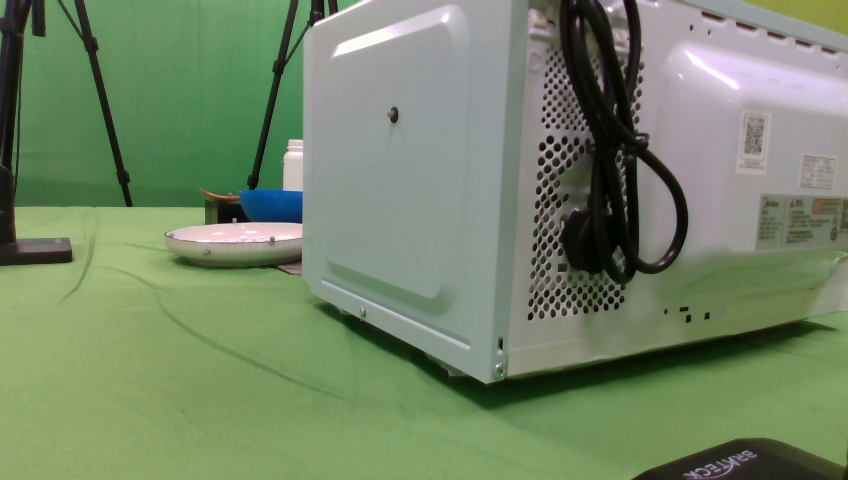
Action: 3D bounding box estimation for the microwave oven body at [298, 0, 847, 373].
[{"bbox_3d":[0.151,-0.055,0.542,0.444,0.260,0.324,-1,7,-33],"label":"microwave oven body"}]

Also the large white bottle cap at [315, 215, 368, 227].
[{"bbox_3d":[-0.178,-0.041,1.308,0.115,0.018,0.115,2,6,0],"label":"large white bottle cap"}]

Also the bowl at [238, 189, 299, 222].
[{"bbox_3d":[-0.245,-0.046,1.052,0.151,0.077,0.151,3,8,0],"label":"bowl"}]

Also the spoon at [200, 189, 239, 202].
[{"bbox_3d":[-0.339,-0.080,1.190,0.194,0.021,0.041,5,1,-19],"label":"spoon"}]

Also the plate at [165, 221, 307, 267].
[{"bbox_3d":[-0.241,0.004,0.829,0.209,0.038,0.209,0,9,0],"label":"plate"}]

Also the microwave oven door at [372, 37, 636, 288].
[{"bbox_3d":[0.110,-0.080,0.686,0.358,0.243,0.039,-2,9,-33],"label":"microwave oven door"}]

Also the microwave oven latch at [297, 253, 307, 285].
[{"bbox_3d":[-0.082,0.027,0.582,0.079,0.029,0.030,-1,7,-32],"label":"microwave oven latch"}]

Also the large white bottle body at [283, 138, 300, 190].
[{"bbox_3d":[-0.265,-0.143,1.424,0.131,0.184,0.130,2,7,0],"label":"large white bottle body"}]
